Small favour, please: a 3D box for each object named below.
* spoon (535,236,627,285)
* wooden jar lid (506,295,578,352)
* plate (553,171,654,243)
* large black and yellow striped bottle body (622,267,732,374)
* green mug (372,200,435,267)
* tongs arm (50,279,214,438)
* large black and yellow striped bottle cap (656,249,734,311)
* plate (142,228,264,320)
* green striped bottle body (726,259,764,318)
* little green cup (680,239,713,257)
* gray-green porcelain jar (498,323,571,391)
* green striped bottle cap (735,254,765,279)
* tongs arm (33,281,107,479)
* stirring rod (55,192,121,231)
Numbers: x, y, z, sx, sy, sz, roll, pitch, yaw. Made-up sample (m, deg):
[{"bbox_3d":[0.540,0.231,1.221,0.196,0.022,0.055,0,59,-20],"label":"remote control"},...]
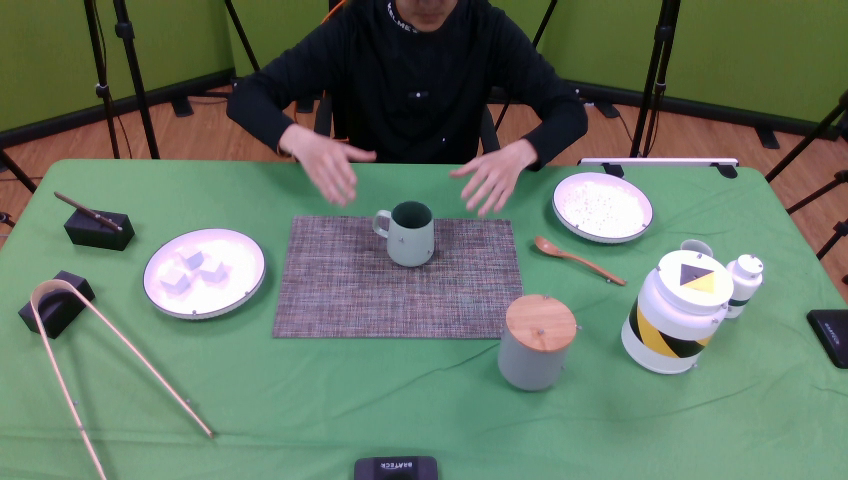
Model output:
[{"bbox_3d":[0.303,0.040,1.178,0.193,0.022,0.041,25,31,20],"label":"spoon"},{"bbox_3d":[0.179,0.129,0.926,0.108,0.021,0.107,2,43,-2],"label":"wooden jar lid"},{"bbox_3d":[0.373,-0.066,1.275,0.209,0.038,0.208,2,46,-2],"label":"plate"},{"bbox_3d":[0.415,0.119,0.997,0.131,0.185,0.130,2,46,-2],"label":"large black and yellow striped bottle body"},{"bbox_3d":[-0.040,-0.016,1.146,0.125,0.105,0.092,17,48,13],"label":"green mug"},{"bbox_3d":[-0.459,0.178,0.949,0.386,0.028,0.028,37,60,17],"label":"tongs arm"},{"bbox_3d":[0.419,0.061,0.938,0.115,0.019,0.114,2,47,-2],"label":"large black and yellow striped bottle cap"},{"bbox_3d":[-0.394,0.064,1.095,0.208,0.039,0.206,2,46,-2],"label":"plate"},{"bbox_3d":[0.563,0.081,1.089,0.063,0.120,0.063,2,46,-2],"label":"green striped bottle body"},{"bbox_3d":[0.530,0.033,1.190,0.061,0.039,0.061,2,47,-2],"label":"little green cup"},{"bbox_3d":[0.176,0.172,0.971,0.106,0.127,0.105,2,46,-2],"label":"gray-green porcelain jar"},{"bbox_3d":[0.566,0.046,1.051,0.044,0.020,0.044,0,45,0],"label":"green striped bottle cap"},{"bbox_3d":[-0.517,0.214,0.910,0.051,0.026,0.383,-29,63,-27],"label":"tongs arm"},{"bbox_3d":[-0.632,-0.055,1.138,0.175,0.014,0.006,24,50,19],"label":"stirring rod"}]
